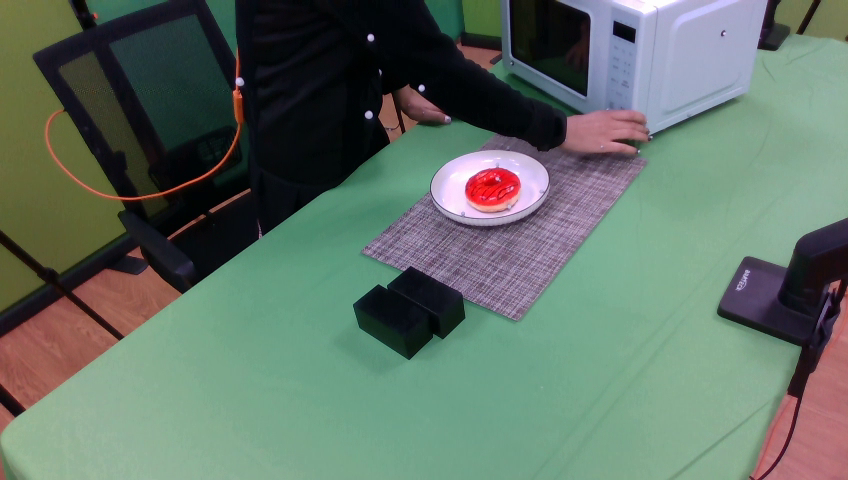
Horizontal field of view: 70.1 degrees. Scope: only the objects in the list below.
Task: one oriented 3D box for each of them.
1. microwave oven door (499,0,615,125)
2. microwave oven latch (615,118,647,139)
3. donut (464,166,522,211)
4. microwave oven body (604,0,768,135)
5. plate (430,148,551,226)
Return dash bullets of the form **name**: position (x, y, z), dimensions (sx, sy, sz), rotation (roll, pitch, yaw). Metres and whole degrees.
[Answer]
- **microwave oven door**: position (0.261, -0.410, 1.219), dimensions (0.039, 0.245, 0.352), rotation (-24, 42, -17)
- **microwave oven latch**: position (0.385, -0.218, 1.128), dimensions (0.030, 0.029, 0.078), rotation (-12, 40, -1)
- **donut**: position (0.117, -0.089, 1.031), dimensions (0.099, 0.048, 0.098), rotation (-7, 41, 7)
- **microwave oven body**: position (0.411, -0.441, 1.235), dimensions (0.327, 0.261, 0.437), rotation (-25, 42, -16)
- **plate**: position (0.114, -0.089, 1.049), dimensions (0.209, 0.038, 0.208), rotation (-5, 40, 5)
